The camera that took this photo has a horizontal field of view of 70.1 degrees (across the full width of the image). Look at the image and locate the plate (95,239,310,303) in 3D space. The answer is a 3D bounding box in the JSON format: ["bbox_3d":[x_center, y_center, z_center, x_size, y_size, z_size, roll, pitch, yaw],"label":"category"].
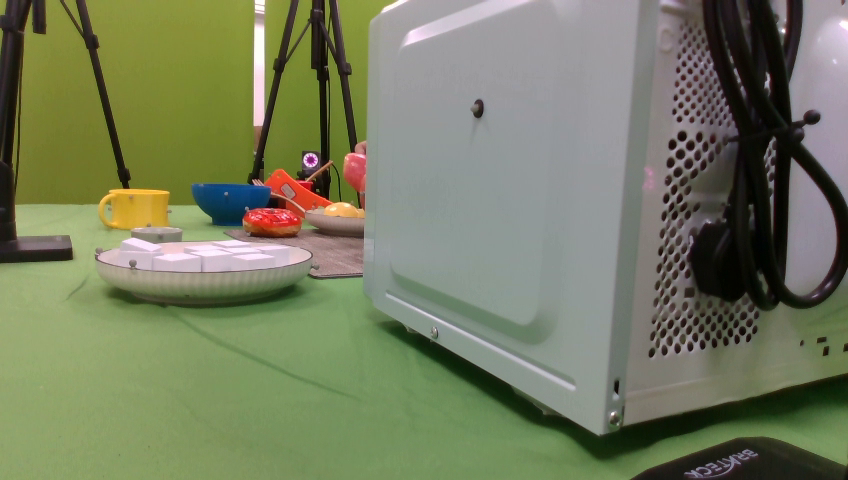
[{"bbox_3d":[-0.224,0.031,0.629,0.208,0.039,0.207,2,8,0],"label":"plate"}]

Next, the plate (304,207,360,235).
[{"bbox_3d":[-0.123,-0.037,1.149,0.209,0.038,0.209,2,7,0],"label":"plate"}]

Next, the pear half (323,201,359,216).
[{"bbox_3d":[-0.155,-0.059,1.197,0.088,0.031,0.070,13,32,0],"label":"pear half"}]

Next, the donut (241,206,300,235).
[{"bbox_3d":[-0.263,-0.032,1.039,0.099,0.048,0.099,4,10,0],"label":"donut"}]

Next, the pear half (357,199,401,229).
[{"bbox_3d":[-0.075,-0.046,1.132,0.076,0.056,0.110,12,5,31],"label":"pear half"}]

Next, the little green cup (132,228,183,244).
[{"bbox_3d":[-0.342,0.006,0.779,0.061,0.038,0.061,2,8,0],"label":"little green cup"}]

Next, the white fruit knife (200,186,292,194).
[{"bbox_3d":[-0.399,-0.111,1.368,0.208,0.016,0.027,-4,-19,-30],"label":"white fruit knife"}]

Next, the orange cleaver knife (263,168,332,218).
[{"bbox_3d":[-0.262,-0.088,1.353,0.211,0.077,0.012,28,13,-1],"label":"orange cleaver knife"}]

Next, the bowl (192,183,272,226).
[{"bbox_3d":[-0.381,-0.071,1.202,0.151,0.077,0.151,3,7,0],"label":"bowl"}]

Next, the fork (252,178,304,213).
[{"bbox_3d":[-0.295,-0.084,1.292,0.206,0.018,0.028,29,10,25],"label":"fork"}]

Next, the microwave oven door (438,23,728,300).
[{"bbox_3d":[0.181,-0.072,0.621,0.358,0.243,0.039,-2,8,-29],"label":"microwave oven door"}]

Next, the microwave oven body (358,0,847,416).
[{"bbox_3d":[0.211,-0.047,0.474,0.444,0.260,0.324,-1,7,-28],"label":"microwave oven body"}]

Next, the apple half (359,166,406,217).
[{"bbox_3d":[-0.056,-0.072,0.918,0.053,0.074,0.081,16,15,26],"label":"apple half"}]

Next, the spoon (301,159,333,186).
[{"bbox_3d":[-0.316,-0.159,1.639,0.194,0.022,0.041,-49,32,-20],"label":"spoon"}]

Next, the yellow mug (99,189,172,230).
[{"bbox_3d":[-0.519,-0.055,1.080,0.099,0.064,0.131,6,9,26],"label":"yellow mug"}]

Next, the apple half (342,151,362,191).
[{"bbox_3d":[-0.098,-0.119,1.013,0.032,0.081,0.082,-22,-10,41],"label":"apple half"}]

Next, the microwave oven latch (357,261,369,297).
[{"bbox_3d":[-0.019,0.033,0.531,0.079,0.029,0.030,-1,7,-27],"label":"microwave oven latch"}]
